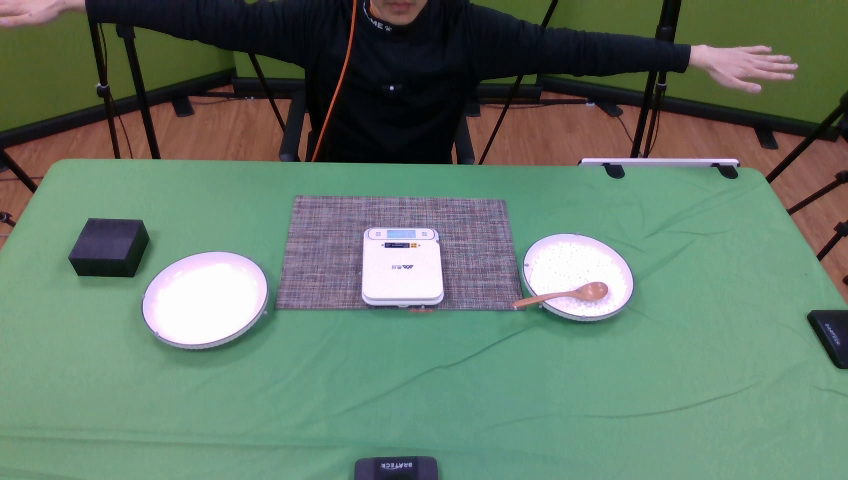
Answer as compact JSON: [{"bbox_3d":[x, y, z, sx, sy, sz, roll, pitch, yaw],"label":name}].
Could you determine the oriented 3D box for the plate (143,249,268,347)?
[{"bbox_3d":[-0.377,0.103,1.060,0.208,0.039,0.206,2,47,-2],"label":"plate"}]

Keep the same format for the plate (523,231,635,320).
[{"bbox_3d":[0.287,0.069,1.141,0.209,0.038,0.208,2,46,-2],"label":"plate"}]

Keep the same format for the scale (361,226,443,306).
[{"bbox_3d":[-0.042,0.040,1.143,0.149,0.032,0.199,0,46,-4],"label":"scale"}]

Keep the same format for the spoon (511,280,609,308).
[{"bbox_3d":[0.245,0.098,1.088,0.194,0.022,0.041,-5,47,-19],"label":"spoon"}]
